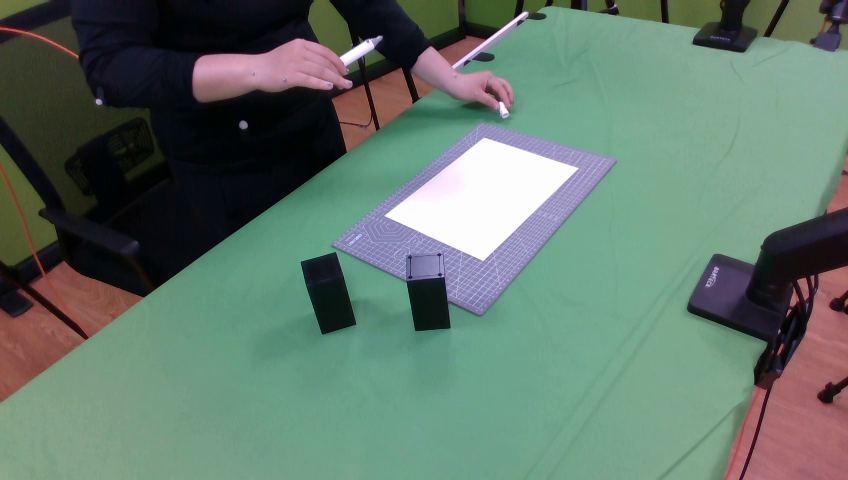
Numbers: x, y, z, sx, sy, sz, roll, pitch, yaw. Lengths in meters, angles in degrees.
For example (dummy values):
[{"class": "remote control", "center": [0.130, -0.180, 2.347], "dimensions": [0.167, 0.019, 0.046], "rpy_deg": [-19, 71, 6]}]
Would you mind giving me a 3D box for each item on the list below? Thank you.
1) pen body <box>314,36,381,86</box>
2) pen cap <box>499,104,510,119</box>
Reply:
[{"class": "pen body", "center": [-0.117, -0.285, 0.953], "dimensions": [0.017, 0.017, 0.144], "rpy_deg": [27, 59, 34]}, {"class": "pen cap", "center": [0.165, -0.267, 1.250], "dimensions": [0.017, 0.017, 0.038], "rpy_deg": [-7, 44, 1]}]
